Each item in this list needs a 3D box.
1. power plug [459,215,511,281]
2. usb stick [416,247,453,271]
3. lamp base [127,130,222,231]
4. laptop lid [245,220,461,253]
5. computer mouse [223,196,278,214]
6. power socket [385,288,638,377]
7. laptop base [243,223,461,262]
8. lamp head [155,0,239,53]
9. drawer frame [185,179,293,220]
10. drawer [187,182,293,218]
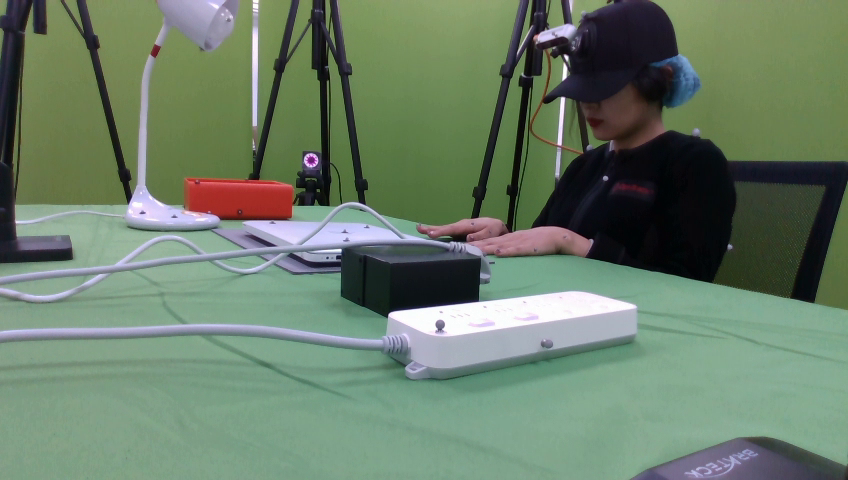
[{"bbox_3d":[0.064,0.010,0.623,0.053,0.072,0.035,-6,39,-1],"label":"power plug"},{"bbox_3d":[0.009,0.024,0.755,0.027,0.021,0.059,37,-17,-17],"label":"usb stick"},{"bbox_3d":[-0.469,-0.112,1.108,0.179,0.180,0.160,0,7,3],"label":"lamp base"},{"bbox_3d":[-0.124,-0.009,0.945,0.243,0.013,0.355,1,7,-29],"label":"laptop lid"},{"bbox_3d":[-0.392,-0.078,1.368,0.118,0.041,0.062,-3,6,-24],"label":"computer mouse"},{"bbox_3d":[0.074,0.064,0.462,0.228,0.032,0.072,-3,8,-34],"label":"power socket"},{"bbox_3d":[-0.126,0.003,0.946,0.237,0.023,0.352,2,6,-31],"label":"laptop base"},{"bbox_3d":[-0.406,-0.402,1.059,0.123,0.112,0.112,25,6,-6],"label":"lamp head"},{"bbox_3d":[-0.420,-0.094,1.369,0.214,0.082,0.200,-2,9,-25],"label":"drawer frame"},{"bbox_3d":[-0.418,-0.093,1.371,0.213,0.073,0.193,-2,9,-24],"label":"drawer"}]
